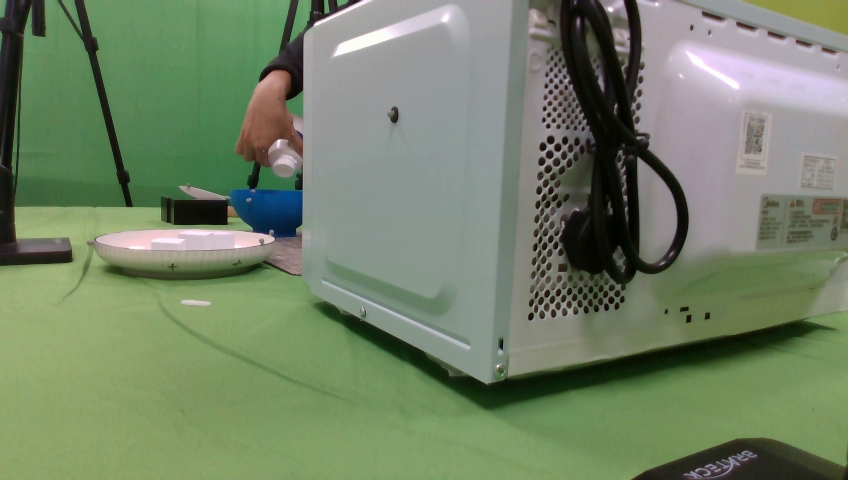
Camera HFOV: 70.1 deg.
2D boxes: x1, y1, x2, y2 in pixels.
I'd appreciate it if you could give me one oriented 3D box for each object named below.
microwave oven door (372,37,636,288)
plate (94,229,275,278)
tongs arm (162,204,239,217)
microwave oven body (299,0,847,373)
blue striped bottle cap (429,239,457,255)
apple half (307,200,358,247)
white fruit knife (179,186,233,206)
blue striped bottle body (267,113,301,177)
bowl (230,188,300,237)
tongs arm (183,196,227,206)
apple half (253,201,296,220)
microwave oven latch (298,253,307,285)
[{"bbox_3d":[0.110,-0.080,0.686,0.358,0.243,0.039,-2,9,-33],"label":"microwave oven door"},{"bbox_3d":[-0.291,0.016,0.749,0.208,0.039,0.207,2,7,0],"label":"plate"},{"bbox_3d":[-0.396,-0.066,1.399,0.389,0.028,0.028,1,6,-15],"label":"tongs arm"},{"bbox_3d":[0.152,-0.055,0.542,0.444,0.260,0.324,-2,7,-33],"label":"microwave oven body"},{"bbox_3d":[0.029,0.011,0.945,0.044,0.020,0.044,1,7,0],"label":"blue striped bottle cap"},{"bbox_3d":[-0.135,-0.024,0.941,0.053,0.074,0.081,13,9,39],"label":"apple half"},{"bbox_3d":[-0.413,-0.081,1.270,0.208,0.027,0.016,17,13,-41],"label":"white fruit knife"},{"bbox_3d":[-0.258,-0.175,1.135,0.063,0.120,0.063,-2,-35,-1],"label":"blue striped bottle body"},{"bbox_3d":[-0.264,-0.048,1.065,0.151,0.077,0.151,3,8,0],"label":"bowl"},{"bbox_3d":[-0.404,-0.081,1.479,0.385,0.026,0.050,3,8,-2],"label":"tongs arm"},{"bbox_3d":[-0.264,-0.053,1.067,0.081,0.033,0.081,2,9,0],"label":"apple half"},{"bbox_3d":[-0.081,0.027,0.582,0.079,0.029,0.030,-2,7,-32],"label":"microwave oven latch"}]
